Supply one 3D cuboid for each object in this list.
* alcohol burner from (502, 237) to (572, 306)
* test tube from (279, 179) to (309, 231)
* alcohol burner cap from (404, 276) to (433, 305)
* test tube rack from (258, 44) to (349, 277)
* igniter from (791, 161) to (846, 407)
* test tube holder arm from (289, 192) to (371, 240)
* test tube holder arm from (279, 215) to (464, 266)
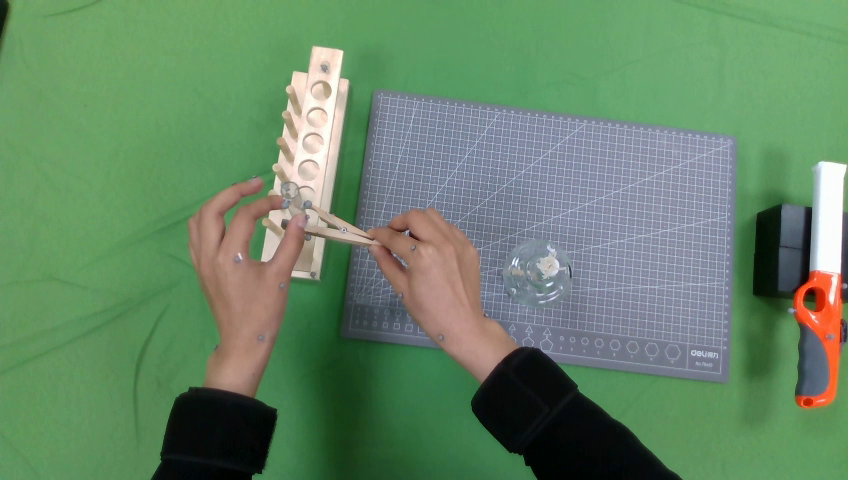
[{"bbox_3d":[0.124,0.032,0.651,0.078,0.119,0.077,0,82,-2],"label":"alcohol burner"},{"bbox_3d":[-0.119,-0.029,0.565,0.017,0.150,0.017,1,78,-6],"label":"test tube"},{"bbox_3d":[-0.005,0.054,0.675,0.034,0.048,0.033,1,80,-3],"label":"alcohol burner cap"},{"bbox_3d":[-0.137,-0.086,0.671,0.067,0.085,0.241,8,81,-2],"label":"test tube rack"},{"bbox_3d":[0.436,0.046,0.667,0.057,0.025,0.275,10,80,4],"label":"igniter"},{"bbox_3d":[-0.089,-0.019,0.577,0.087,0.015,0.010,31,77,7],"label":"test tube holder arm"},{"bbox_3d":[-0.049,0.001,0.573,0.178,0.015,0.013,14,77,3],"label":"test tube holder arm"}]
